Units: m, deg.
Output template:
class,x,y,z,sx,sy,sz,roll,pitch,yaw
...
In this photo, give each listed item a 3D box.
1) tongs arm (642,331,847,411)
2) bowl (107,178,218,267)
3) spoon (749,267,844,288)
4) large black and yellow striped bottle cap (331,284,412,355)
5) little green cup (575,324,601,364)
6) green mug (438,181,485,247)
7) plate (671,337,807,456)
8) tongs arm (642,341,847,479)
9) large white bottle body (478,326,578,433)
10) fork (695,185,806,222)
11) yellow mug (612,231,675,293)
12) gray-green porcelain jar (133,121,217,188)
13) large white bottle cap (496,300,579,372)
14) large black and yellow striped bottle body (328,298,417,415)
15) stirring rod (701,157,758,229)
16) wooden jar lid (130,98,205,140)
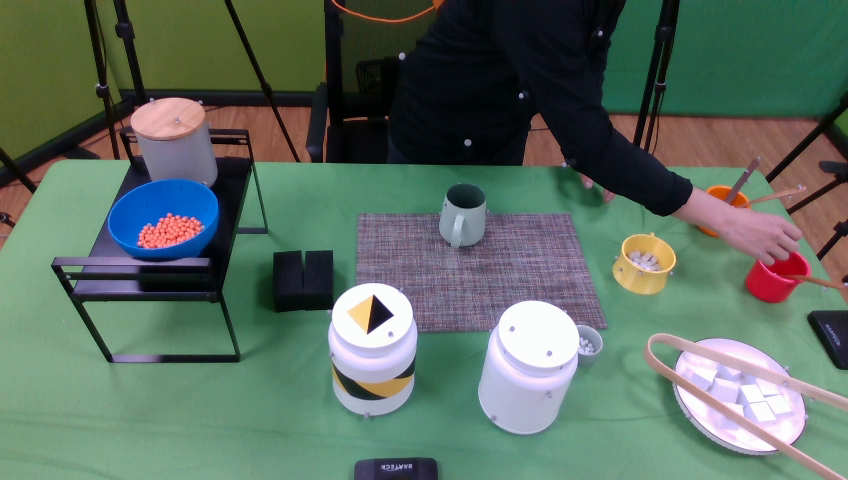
class,x,y,z,sx,sy,sz,roll,pitch,yaw
tongs arm,0.546,0.227,0.968,0.384,0.026,0.050,22,52,13
bowl,-0.374,-0.014,0.893,0.151,0.077,0.150,2,46,-2
spoon,0.671,0.067,1.100,0.042,0.021,0.193,-11,4,-13
large black and yellow striped bottle cap,-0.073,0.111,0.858,0.115,0.019,0.114,2,46,-2
little green cup,0.269,0.179,1.036,0.061,0.039,0.061,3,46,-2
green mug,0.071,-0.039,1.177,0.092,0.105,0.124,12,47,7
plate,0.504,0.254,0.984,0.208,0.039,0.206,2,46,-2
tongs arm,0.504,0.278,0.918,0.386,0.028,0.028,34,59,22
large white bottle body,0.156,0.192,0.913,0.131,0.185,0.130,2,46,-2
fork,0.658,-0.074,1.229,0.207,0.019,0.028,-23,35,37
yellow mug,0.424,0.033,1.168,0.100,0.064,0.130,18,46,13
gray-green porcelain jar,-0.397,-0.141,0.980,0.106,0.127,0.105,2,47,-2
large white bottle cap,0.160,0.133,0.852,0.115,0.018,0.114,3,46,-3
large black and yellow striped bottle body,-0.078,0.167,0.920,0.131,0.185,0.130,2,46,-2
stirring rod,0.634,-0.097,1.257,0.014,0.006,0.176,38,97,29
wooden jar lid,-0.393,-0.183,0.934,0.108,0.021,0.107,3,44,-2
